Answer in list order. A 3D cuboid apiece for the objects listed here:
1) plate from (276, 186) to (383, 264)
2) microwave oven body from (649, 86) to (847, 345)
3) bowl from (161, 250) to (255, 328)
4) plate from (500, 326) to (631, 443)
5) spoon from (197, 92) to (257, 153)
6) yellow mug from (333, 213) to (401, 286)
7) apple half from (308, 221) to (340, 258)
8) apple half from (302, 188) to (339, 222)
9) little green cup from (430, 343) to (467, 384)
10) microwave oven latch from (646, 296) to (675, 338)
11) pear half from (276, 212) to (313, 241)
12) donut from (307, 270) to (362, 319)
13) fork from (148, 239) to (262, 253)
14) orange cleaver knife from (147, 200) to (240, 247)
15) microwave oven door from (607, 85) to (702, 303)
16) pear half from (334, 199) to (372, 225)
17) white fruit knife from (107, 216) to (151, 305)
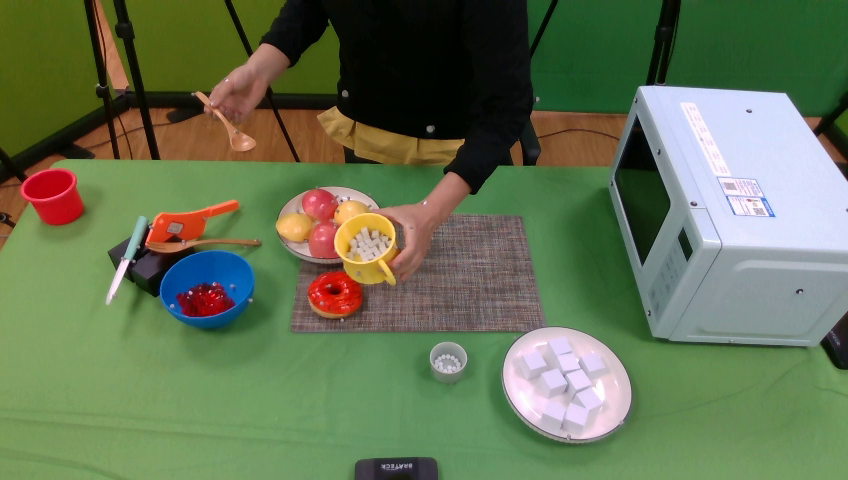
[{"bbox_3d":[-0.184,-0.027,1.194,0.209,0.038,0.208,2,46,-2],"label":"plate"},{"bbox_3d":[0.568,-0.053,1.118,0.326,0.261,0.439,2,45,-1],"label":"microwave oven body"},{"bbox_3d":[-0.362,0.097,1.040,0.151,0.077,0.150,2,45,-2],"label":"bowl"},{"bbox_3d":[0.224,0.234,0.978,0.208,0.039,0.206,2,46,-2],"label":"plate"},{"bbox_3d":[-0.374,-0.223,1.136,0.041,0.022,0.193,-34,68,-21],"label":"spoon"},{"bbox_3d":[-0.084,0.024,0.982,0.100,0.064,0.130,-32,59,-12],"label":"yellow mug"},{"bbox_3d":[-0.180,-0.005,1.150,0.074,0.053,0.080,14,43,9],"label":"apple half"},{"bbox_3d":[-0.205,-0.076,1.217,0.081,0.033,0.081,18,46,-19],"label":"apple half"},{"bbox_3d":[0.039,0.203,0.993,0.061,0.039,0.061,2,46,-2],"label":"little green cup"},{"bbox_3d":[0.412,0.134,1.061,0.030,0.029,0.078,4,45,1],"label":"microwave oven latch"},{"bbox_3d":[-0.244,-0.035,1.178,0.070,0.031,0.088,40,41,0],"label":"pear half"},{"bbox_3d":[-0.157,0.097,1.073,0.099,0.048,0.098,4,45,-4],"label":"donut"},{"bbox_3d":[-0.398,0.008,1.117,0.208,0.019,0.028,-5,35,-37],"label":"fork"},{"bbox_3d":[-0.435,-0.033,1.157,0.012,0.077,0.211,31,26,18],"label":"orange cleaver knife"},{"bbox_3d":[0.423,-0.094,1.140,0.039,0.245,0.353,2,46,-1],"label":"microwave oven door"},{"bbox_3d":[-0.147,-0.060,1.210,0.076,0.056,0.109,-16,44,-25],"label":"pear half"},{"bbox_3d":[-0.518,0.032,1.066,0.027,0.016,0.206,-19,45,19],"label":"white fruit knife"}]
